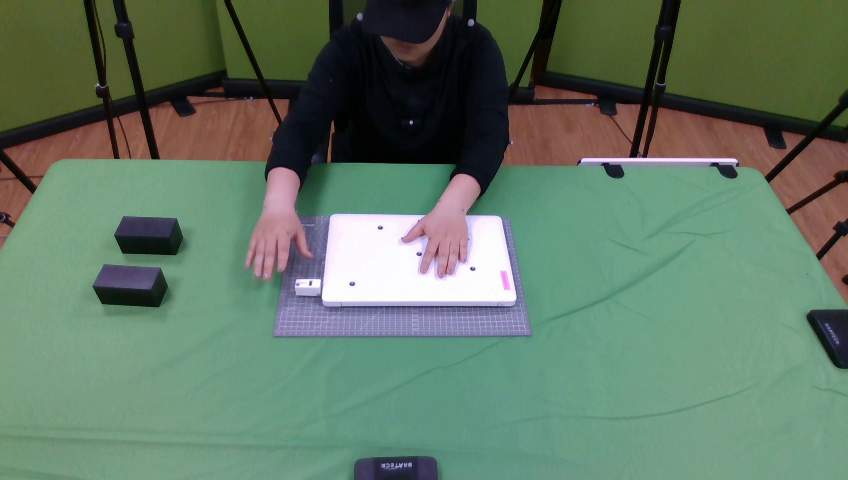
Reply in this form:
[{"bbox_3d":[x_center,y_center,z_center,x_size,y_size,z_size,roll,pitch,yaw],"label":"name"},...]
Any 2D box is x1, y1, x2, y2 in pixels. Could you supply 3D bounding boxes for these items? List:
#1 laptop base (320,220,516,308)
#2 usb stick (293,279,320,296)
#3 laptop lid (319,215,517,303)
[{"bbox_3d":[-0.013,0.039,1.161,0.355,0.023,0.234,0,43,-4],"label":"laptop base"},{"bbox_3d":[-0.202,0.085,1.084,0.059,0.027,0.021,4,46,-3],"label":"usb stick"},{"bbox_3d":[-0.012,0.030,1.155,0.357,0.013,0.240,2,43,-3],"label":"laptop lid"}]
